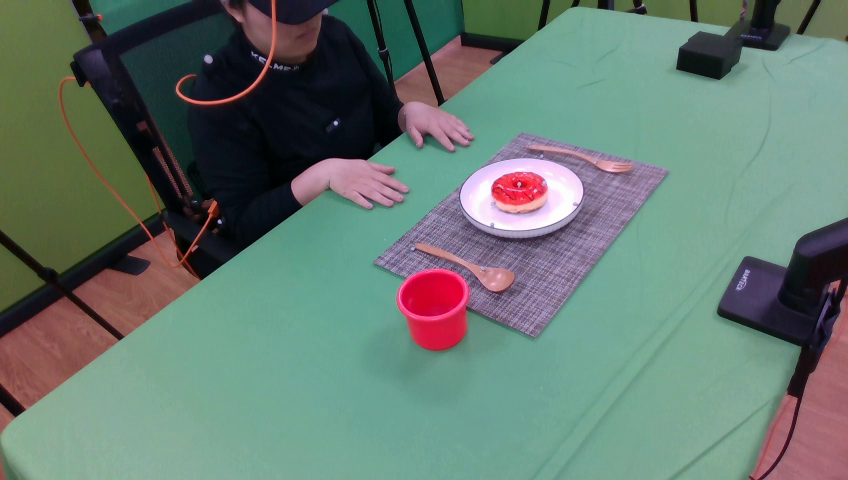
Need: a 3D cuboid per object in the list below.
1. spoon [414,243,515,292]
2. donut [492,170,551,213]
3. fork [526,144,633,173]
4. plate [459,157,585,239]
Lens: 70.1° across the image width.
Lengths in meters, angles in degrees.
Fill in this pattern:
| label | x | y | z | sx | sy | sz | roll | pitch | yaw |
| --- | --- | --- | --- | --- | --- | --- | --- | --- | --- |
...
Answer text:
| label | x | y | z | sx | sy | sz | roll | pitch | yaw |
| --- | --- | --- | --- | --- | --- | --- | --- | --- | --- |
| spoon | 0.057 | 0.035 | 0.924 | 0.192 | 0.022 | 0.041 | 24 | 68 | 34 |
| donut | 0.163 | -0.083 | 1.016 | 0.099 | 0.048 | 0.098 | -6 | 37 | 5 |
| fork | 0.279 | -0.152 | 1.108 | 0.206 | 0.019 | 0.028 | 21 | 56 | 29 |
| plate | 0.163 | -0.068 | 1.015 | 0.209 | 0.038 | 0.208 | -5 | 40 | 5 |
